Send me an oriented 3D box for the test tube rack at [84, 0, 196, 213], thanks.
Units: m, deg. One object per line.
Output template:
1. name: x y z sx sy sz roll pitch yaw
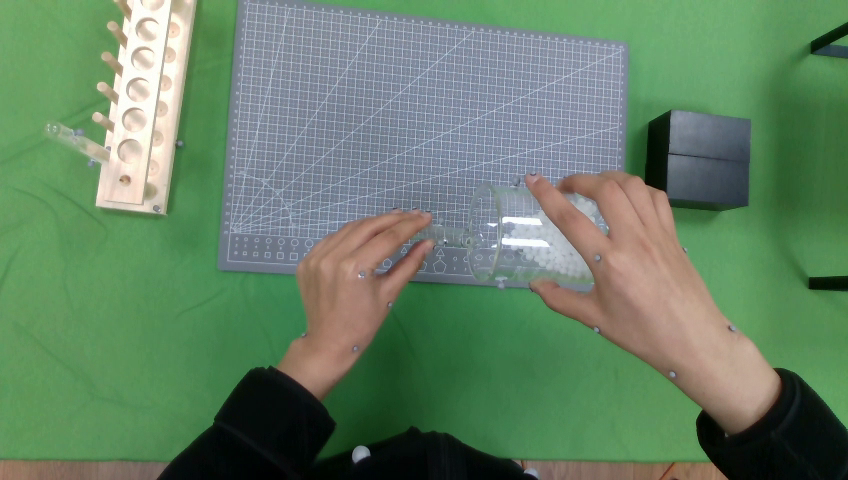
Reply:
1. test tube rack: -0.284 -0.155 0.597 0.067 0.085 0.242 7 85 -8

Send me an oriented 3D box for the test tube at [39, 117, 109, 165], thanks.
1. test tube: -0.306 -0.086 0.545 0.017 0.150 0.017 0 87 -9

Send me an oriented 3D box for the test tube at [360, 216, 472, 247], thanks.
1. test tube: -0.013 -0.010 0.543 0.017 0.149 0.017 -7 100 -38

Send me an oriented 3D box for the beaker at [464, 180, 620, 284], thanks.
1. beaker: 0.087 -0.003 0.460 0.100 0.084 0.074 3 82 -14
